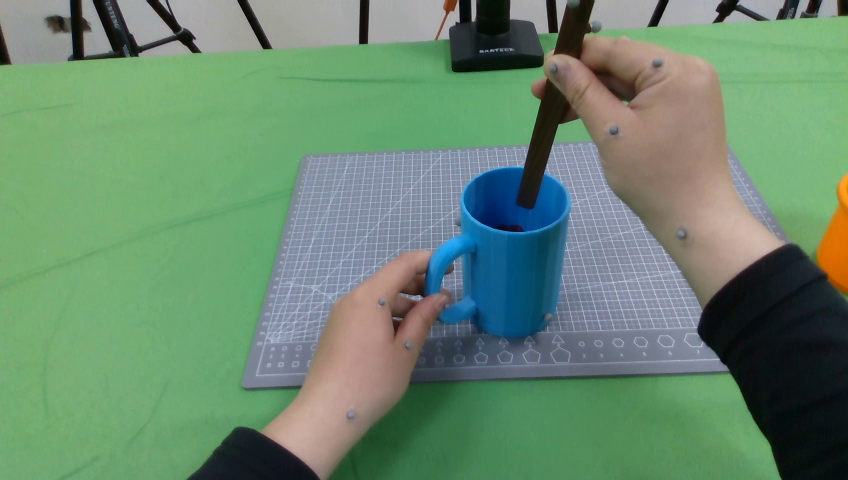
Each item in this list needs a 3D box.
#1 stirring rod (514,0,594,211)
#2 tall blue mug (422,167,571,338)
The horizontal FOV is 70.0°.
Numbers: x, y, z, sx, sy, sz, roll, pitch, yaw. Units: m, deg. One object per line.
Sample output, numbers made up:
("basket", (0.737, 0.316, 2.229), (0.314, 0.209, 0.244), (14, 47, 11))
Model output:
("stirring rod", (0.074, -0.083, 0.346), (0.014, 0.177, 0.006), (18, 47, 11))
("tall blue mug", (0.057, 0.020, 0.444), (0.077, 0.109, 0.107), (21, 48, 24))
